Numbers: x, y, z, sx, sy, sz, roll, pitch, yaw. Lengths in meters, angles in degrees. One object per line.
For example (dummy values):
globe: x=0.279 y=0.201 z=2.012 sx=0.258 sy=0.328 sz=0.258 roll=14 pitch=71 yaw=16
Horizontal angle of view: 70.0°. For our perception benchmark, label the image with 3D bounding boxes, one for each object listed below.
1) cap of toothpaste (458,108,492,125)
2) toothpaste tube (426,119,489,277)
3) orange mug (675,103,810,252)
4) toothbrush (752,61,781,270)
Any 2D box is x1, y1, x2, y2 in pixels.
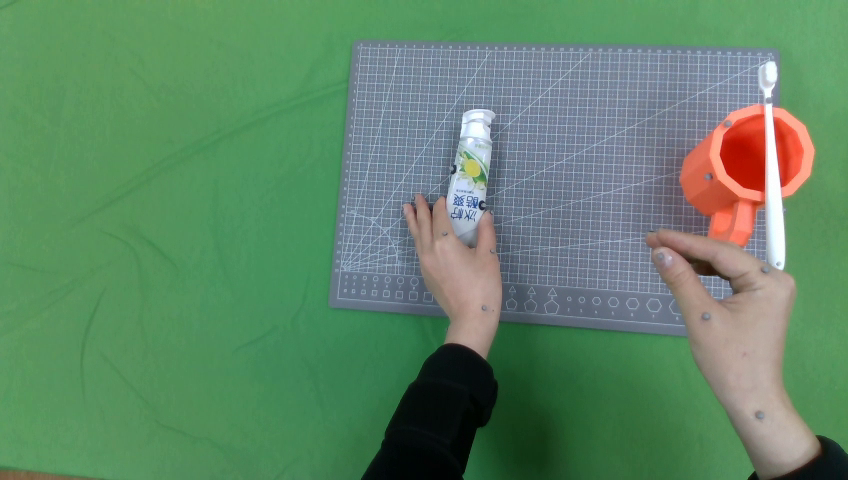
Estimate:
cap of toothpaste: x=0.053 y=-0.128 z=0.634 sx=0.037 sy=0.037 sz=0.011 roll=-5 pitch=78 yaw=7
toothpaste tube: x=0.040 y=-0.046 z=0.631 sx=0.055 sy=0.034 sz=0.165 roll=8 pitch=88 yaw=15
orange mug: x=0.289 y=-0.053 z=0.566 sx=0.083 sy=0.101 sz=0.126 roll=12 pitch=80 yaw=9
toothbrush: x=0.292 y=-0.065 z=0.513 sx=0.014 sy=0.017 sz=0.181 roll=0 pitch=83 yaw=4
